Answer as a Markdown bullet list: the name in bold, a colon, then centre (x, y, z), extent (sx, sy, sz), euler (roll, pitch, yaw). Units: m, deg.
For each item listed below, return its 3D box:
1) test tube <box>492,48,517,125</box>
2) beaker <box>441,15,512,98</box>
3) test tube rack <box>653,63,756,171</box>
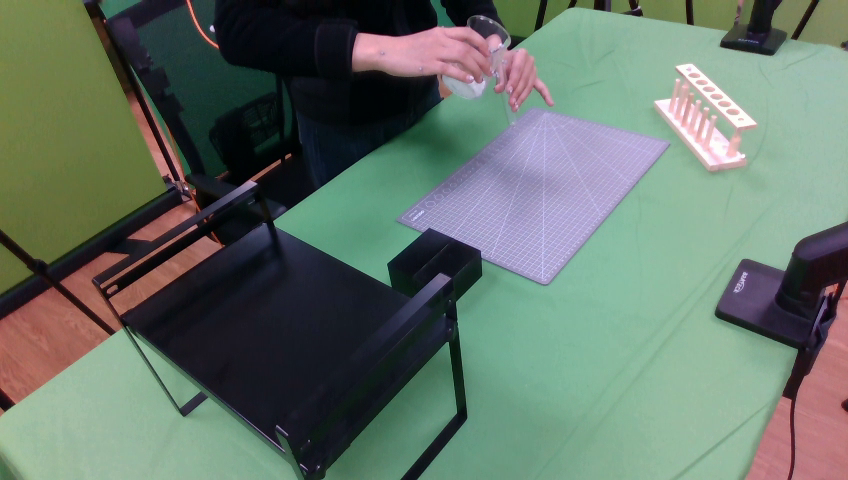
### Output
- **test tube**: centre (0.135, -0.252, 1.008), extent (0.017, 0.151, 0.017), euler (-11, 47, 13)
- **beaker**: centre (0.077, -0.271, 0.910), extent (0.073, 0.084, 0.100), euler (26, 83, 24)
- **test tube rack**: centre (0.510, -0.233, 1.120), extent (0.067, 0.085, 0.241), euler (-9, 41, -1)
